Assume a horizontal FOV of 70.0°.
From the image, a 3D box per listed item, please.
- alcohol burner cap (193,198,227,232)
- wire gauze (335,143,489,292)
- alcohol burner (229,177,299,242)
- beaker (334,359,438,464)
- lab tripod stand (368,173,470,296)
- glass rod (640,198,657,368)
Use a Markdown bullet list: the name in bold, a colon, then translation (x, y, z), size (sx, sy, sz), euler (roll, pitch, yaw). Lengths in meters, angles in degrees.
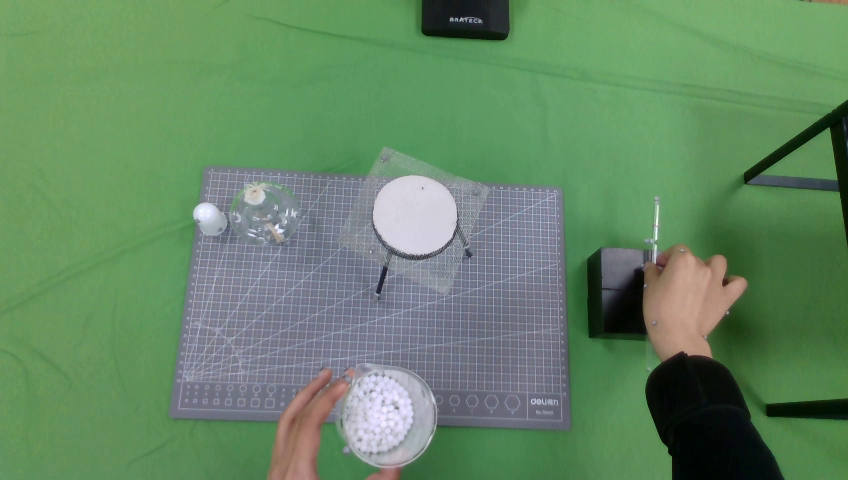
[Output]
- **alcohol burner cap**: translation (-0.252, -0.031, 0.708), size (0.034, 0.048, 0.033), euler (1, 73, -3)
- **wire gauze**: translation (-0.010, -0.027, 0.612), size (0.125, 0.011, 0.121), euler (24, 74, 1)
- **alcohol burner**: translation (-0.182, -0.040, 0.680), size (0.078, 0.119, 0.077), euler (2, 73, -6)
- **beaker**: translation (-0.039, 0.139, 0.504), size (0.074, 0.100, 0.084), euler (-31, 83, -18)
- **lab tripod stand**: translation (-0.012, -0.010, 0.677), size (0.148, 0.132, 0.147), euler (2, 72, -5)
- **glass rod**: translation (0.259, 0.047, 0.699), size (0.008, 0.008, 0.199), euler (9, 78, -2)
